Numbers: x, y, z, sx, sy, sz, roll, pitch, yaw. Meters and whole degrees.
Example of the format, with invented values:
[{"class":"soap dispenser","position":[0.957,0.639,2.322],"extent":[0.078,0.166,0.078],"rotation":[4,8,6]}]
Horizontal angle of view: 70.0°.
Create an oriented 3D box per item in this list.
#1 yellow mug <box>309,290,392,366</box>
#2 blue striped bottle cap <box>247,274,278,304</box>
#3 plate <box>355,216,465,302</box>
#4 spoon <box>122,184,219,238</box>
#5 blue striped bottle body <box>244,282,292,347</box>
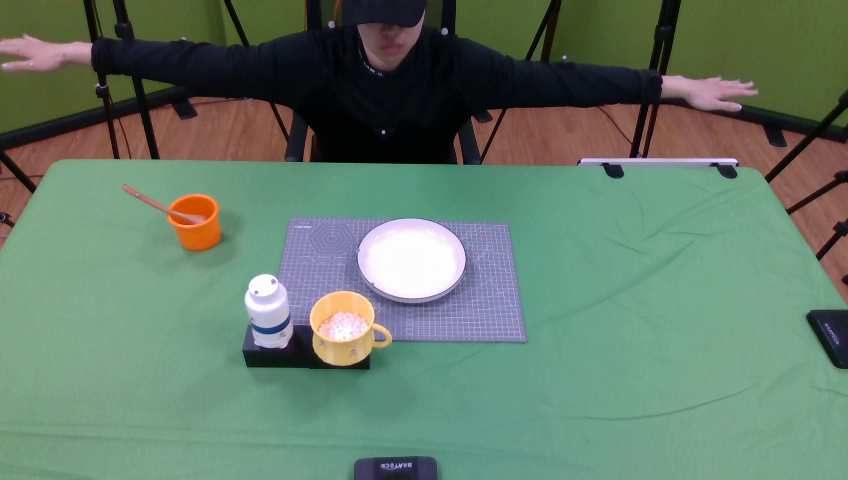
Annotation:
[{"class":"yellow mug","position":[-0.114,0.141,0.954],"extent":[0.131,0.064,0.099],"rotation":[12,47,6]},{"class":"blue striped bottle cap","position":[-0.239,0.072,0.900],"extent":[0.044,0.021,0.044],"rotation":[4,46,-4]},{"class":"plate","position":[-0.027,0.039,1.144],"extent":[0.208,0.039,0.206],"rotation":[2,46,-2]},{"class":"spoon","position":[-0.463,-0.053,1.118],"extent":[0.195,0.021,0.041],"rotation":[28,37,-35]},{"class":"blue striped bottle body","position":[-0.241,0.108,0.937],"extent":[0.063,0.121,0.062],"rotation":[2,46,-2]}]
